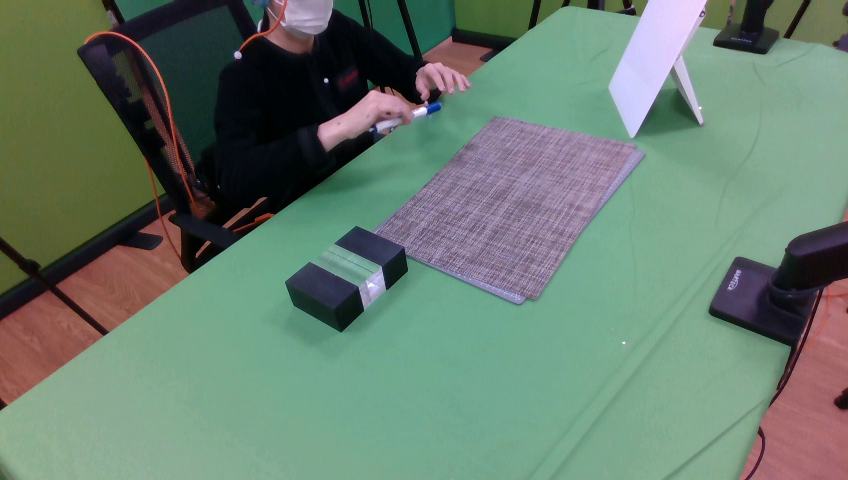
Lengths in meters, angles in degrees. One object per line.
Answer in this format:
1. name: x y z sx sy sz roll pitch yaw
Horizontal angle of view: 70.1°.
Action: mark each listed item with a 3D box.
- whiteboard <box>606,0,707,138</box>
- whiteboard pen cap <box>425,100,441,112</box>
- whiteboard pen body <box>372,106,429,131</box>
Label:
1. whiteboard: 0.496 -0.359 1.147 0.144 0.305 0.216 11 40 -7
2. whiteboard pen cap: 0.014 -0.246 1.113 0.033 0.018 0.018 -26 44 -29
3. whiteboard pen body: -0.032 -0.221 1.081 0.141 0.017 0.017 -26 44 -29
